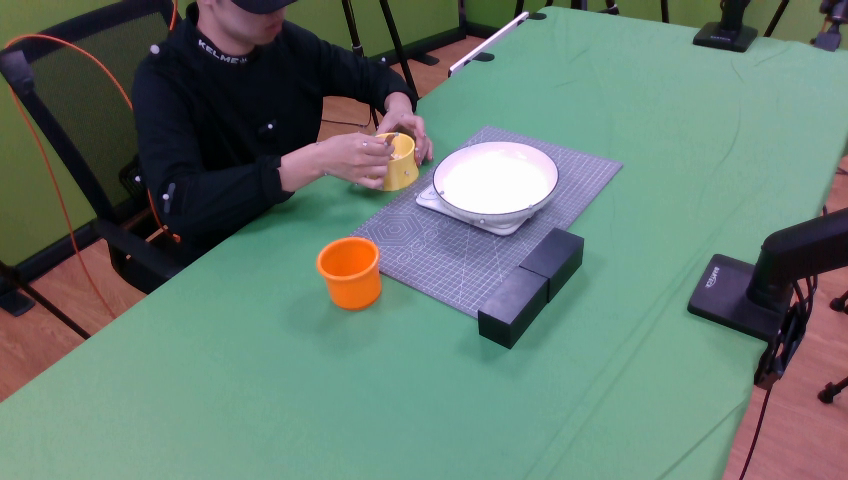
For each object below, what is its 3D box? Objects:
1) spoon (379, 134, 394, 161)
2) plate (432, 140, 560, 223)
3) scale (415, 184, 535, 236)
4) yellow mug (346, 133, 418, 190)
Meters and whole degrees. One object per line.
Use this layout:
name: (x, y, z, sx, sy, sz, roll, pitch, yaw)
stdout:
spoon: (-0.066, -0.156, 1.058, 0.042, 0.193, 0.021, -8, 81, -7)
plate: (0.118, -0.094, 0.999, 0.209, 0.038, 0.208, -4, 41, 4)
scale: (0.099, -0.080, 1.035, 0.199, 0.032, 0.149, 23, 48, 31)
yellow mug: (-0.079, -0.143, 1.115, 0.131, 0.064, 0.099, -6, 39, 2)
